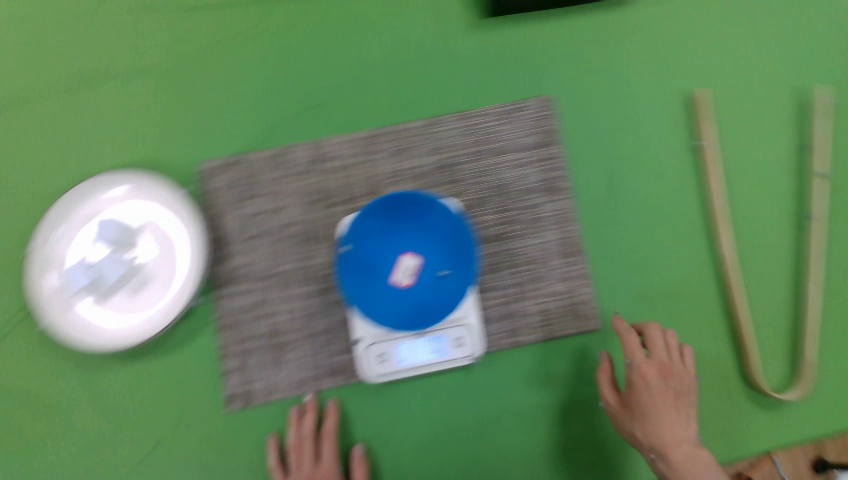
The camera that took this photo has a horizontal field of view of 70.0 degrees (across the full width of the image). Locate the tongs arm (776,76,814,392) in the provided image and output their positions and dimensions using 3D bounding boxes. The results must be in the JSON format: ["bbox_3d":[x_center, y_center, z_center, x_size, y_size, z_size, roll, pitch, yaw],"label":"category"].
[{"bbox_3d":[0.443,-0.012,0.731,0.051,0.026,0.383,3,82,1],"label":"tongs arm"}]

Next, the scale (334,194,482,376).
[{"bbox_3d":[-0.020,0.051,0.715,0.149,0.031,0.200,-11,82,-2],"label":"scale"}]

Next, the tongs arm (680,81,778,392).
[{"bbox_3d":[0.362,-0.010,0.734,0.028,0.028,0.386,-9,81,-4],"label":"tongs arm"}]

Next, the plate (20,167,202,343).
[{"bbox_3d":[-0.364,0.018,0.718,0.208,0.039,0.207,0,81,-1],"label":"plate"}]

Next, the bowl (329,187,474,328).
[{"bbox_3d":[-0.023,0.023,0.666,0.151,0.077,0.151,0,81,-2],"label":"bowl"}]
